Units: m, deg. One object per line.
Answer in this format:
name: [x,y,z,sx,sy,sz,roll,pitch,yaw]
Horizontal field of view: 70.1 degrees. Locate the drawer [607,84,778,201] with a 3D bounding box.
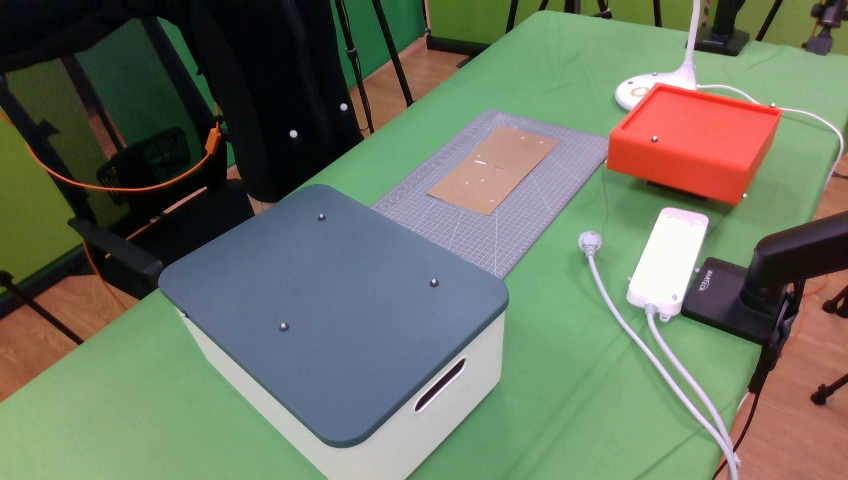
drawer: [0.438,-0.167,0.995,0.210,0.073,0.195,23,48,30]

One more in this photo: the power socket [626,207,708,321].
power socket: [0.360,0.026,0.886,0.072,0.033,0.227,16,46,26]

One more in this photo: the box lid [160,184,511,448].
box lid: [-0.114,0.054,0.705,0.368,0.015,0.264,29,51,34]

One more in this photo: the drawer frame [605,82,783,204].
drawer frame: [0.441,-0.167,0.995,0.212,0.083,0.202,23,48,30]

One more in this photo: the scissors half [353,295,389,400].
scissors half: [-0.068,0.142,0.818,0.040,0.013,0.174,-19,44,-2]

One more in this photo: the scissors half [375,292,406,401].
scissors half: [-0.048,0.139,0.817,0.040,0.013,0.174,-3,45,7]

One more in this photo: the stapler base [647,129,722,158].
stapler base: [0.439,-0.167,1.023,0.131,0.024,0.041,-17,24,-15]

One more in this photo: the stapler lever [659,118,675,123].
stapler lever: [0.436,-0.193,1.014,0.118,0.040,0.026,-15,24,-16]

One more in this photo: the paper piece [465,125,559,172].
paper piece: [0.171,-0.177,1.168,0.137,0.009,0.136,21,44,31]

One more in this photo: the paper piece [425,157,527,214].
paper piece: [0.095,-0.103,1.089,0.134,0.004,0.136,22,48,30]

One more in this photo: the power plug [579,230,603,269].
power plug: [0.245,0.018,0.909,0.035,0.053,0.072,16,65,21]

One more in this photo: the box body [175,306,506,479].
box body: [-0.105,0.111,0.751,0.361,0.161,0.255,28,52,35]

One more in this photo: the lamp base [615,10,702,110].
lamp base: [0.484,-0.364,1.211,0.180,0.181,0.159,-15,41,-14]
